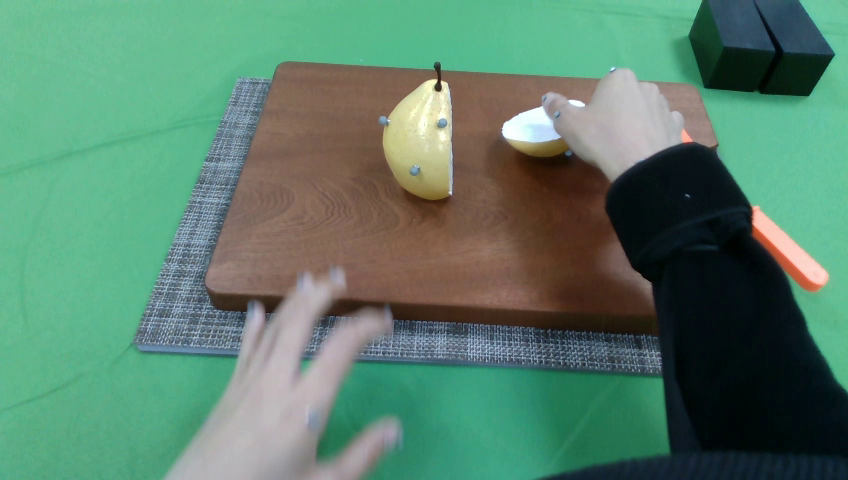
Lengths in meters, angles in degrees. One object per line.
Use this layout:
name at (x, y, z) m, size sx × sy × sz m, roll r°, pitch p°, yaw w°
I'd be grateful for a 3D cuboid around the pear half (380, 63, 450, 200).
pear half at (-0.005, -0.083, 0.445) m, size 0.056 × 0.111 × 0.075 m, roll -2°, pitch 47°, yaw -3°

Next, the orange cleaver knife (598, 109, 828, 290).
orange cleaver knife at (0.219, -0.039, 0.478) m, size 0.077 × 0.012 × 0.209 m, roll -18°, pitch 57°, yaw -21°

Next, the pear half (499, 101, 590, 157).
pear half at (0.101, -0.089, 0.504) m, size 0.070 × 0.031 × 0.088 m, roll 22°, pitch 38°, yaw 33°
